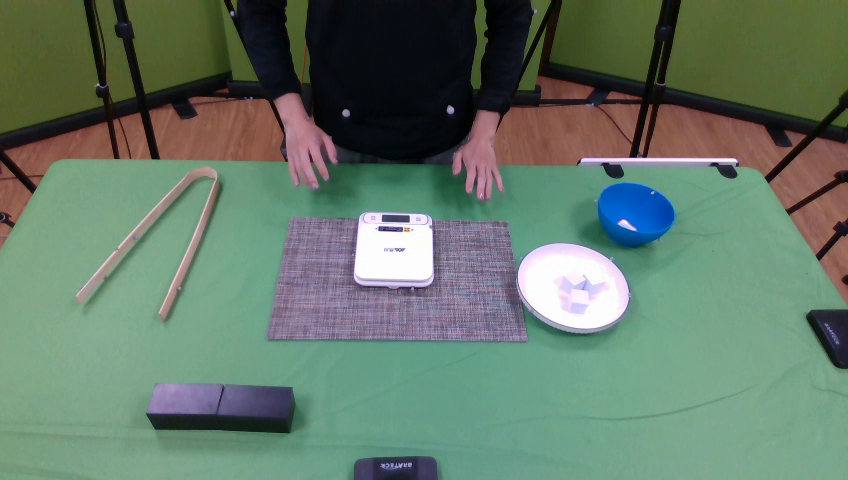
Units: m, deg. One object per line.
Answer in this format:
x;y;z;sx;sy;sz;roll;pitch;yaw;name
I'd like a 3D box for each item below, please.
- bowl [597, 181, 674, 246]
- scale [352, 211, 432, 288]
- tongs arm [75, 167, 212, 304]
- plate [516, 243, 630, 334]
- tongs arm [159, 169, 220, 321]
0.418;-0.042;1.230;0.151;0.077;0.150;2;46;-2;bowl
-0.060;0.010;1.171;0.149;0.032;0.199;2;46;-3;scale
-0.525;-0.021;1.167;0.051;0.026;0.383;13;46;7;tongs arm
0.272;0.092;1.120;0.208;0.039;0.206;2;46;-2;plate
-0.446;-0.005;1.164;0.028;0.028;0.385;1;46;0;tongs arm
